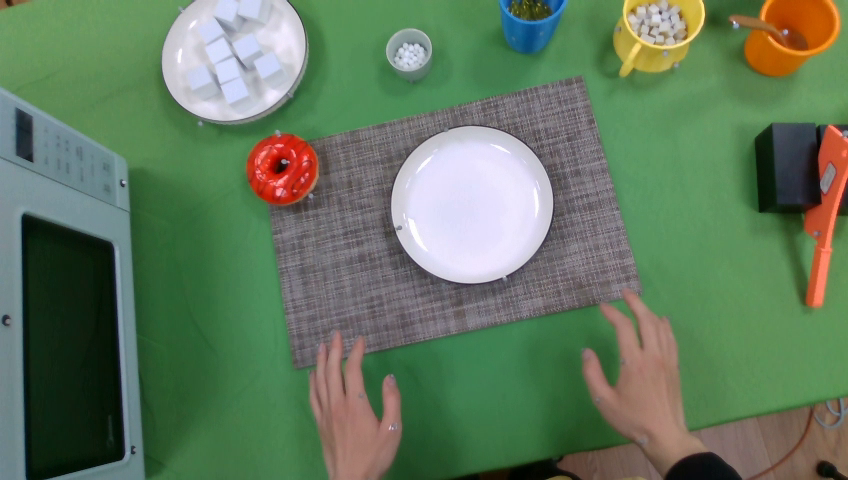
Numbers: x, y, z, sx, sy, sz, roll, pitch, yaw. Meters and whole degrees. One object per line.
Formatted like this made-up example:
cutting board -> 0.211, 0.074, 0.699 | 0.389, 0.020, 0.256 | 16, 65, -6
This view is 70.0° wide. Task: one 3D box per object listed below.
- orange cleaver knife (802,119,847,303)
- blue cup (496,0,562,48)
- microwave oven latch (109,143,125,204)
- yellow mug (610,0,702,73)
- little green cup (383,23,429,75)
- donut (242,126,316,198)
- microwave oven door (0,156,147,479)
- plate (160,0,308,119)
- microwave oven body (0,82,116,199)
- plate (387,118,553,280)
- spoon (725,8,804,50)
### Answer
orange cleaver knife -> 0.462, -0.032, 0.708 | 0.012, 0.077, 0.212 | 2, 109, 9
blue cup -> 0.133, -0.297, 0.779 | 0.092, 0.100, 0.092 | -1, 81, 5
microwave oven latch -> -0.419, -0.088, 0.810 | 0.030, 0.029, 0.079 | -7, 80, 4
yellow mug -> 0.286, -0.270, 0.776 | 0.099, 0.064, 0.131 | 36, 86, 11
little green cup -> -0.022, -0.256, 0.819 | 0.061, 0.039, 0.061 | -1, 79, 6
donut -> -0.192, -0.102, 0.802 | 0.099, 0.048, 0.098 | -1, 81, 7
microwave oven door -> -0.399, 0.106, 0.670 | 0.039, 0.245, 0.354 | -10, 79, 4
plate -> -0.261, -0.264, 0.844 | 0.207, 0.039, 0.207 | -1, 80, 6
microwave oven body -> -0.549, 0.091, 0.693 | 0.326, 0.261, 0.439 | -10, 80, 4
plate -> 0.058, -0.051, 0.771 | 0.209, 0.038, 0.208 | -1, 80, 6
spoon -> 0.407, -0.256, 0.720 | 0.021, 0.195, 0.041 | -26, 73, 46
